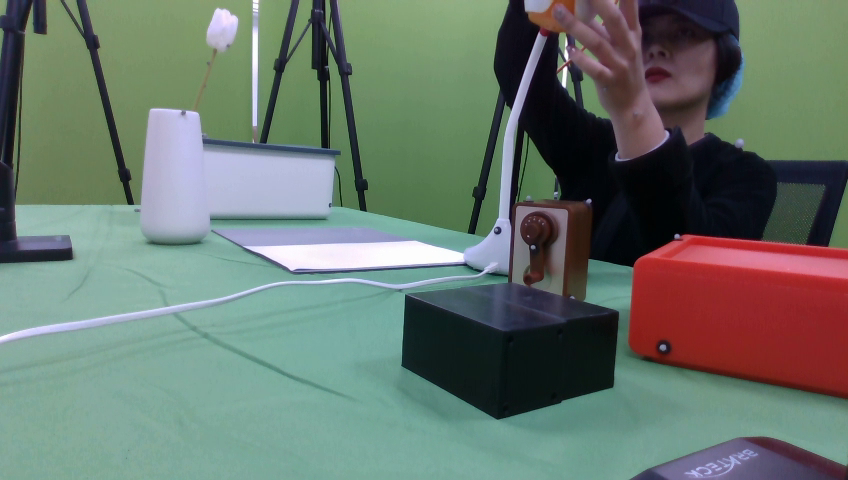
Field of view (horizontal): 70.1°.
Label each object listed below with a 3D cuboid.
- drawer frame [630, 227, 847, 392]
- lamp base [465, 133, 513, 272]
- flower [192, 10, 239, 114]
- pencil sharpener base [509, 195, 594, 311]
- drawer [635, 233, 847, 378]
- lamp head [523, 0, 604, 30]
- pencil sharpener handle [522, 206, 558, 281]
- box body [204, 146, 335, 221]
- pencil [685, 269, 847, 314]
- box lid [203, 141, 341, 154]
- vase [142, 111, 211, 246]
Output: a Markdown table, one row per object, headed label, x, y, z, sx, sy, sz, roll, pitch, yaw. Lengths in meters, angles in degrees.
| label | x | y | z | sx | sy | sz | roll | pitch | yaw |
| --- | --- | --- | --- | --- | --- | --- | --- | --- | --- |
| drawer frame | 0.292 | 0.043 | 0.484 | 0.201 | 0.082 | 0.214 | 7 | 9 | 29 |
| lamp base | 0.133 | -0.052 | 0.809 | 0.160 | 0.180 | 0.180 | 6 | 12 | 26 |
| flower | -0.354 | -0.174 | 0.916 | 0.038 | 0.361 | 0.044 | 18 | -3 | 12 |
| pencil sharpener base | 0.126 | 0.011 | 0.601 | 0.061 | 0.107 | 0.077 | 7 | 9 | 30 |
| drawer | 0.292 | 0.045 | 0.488 | 0.193 | 0.073 | 0.213 | 7 | 9 | 30 |
| lamp head | 0.150 | -0.284 | 0.632 | 0.112 | 0.123 | 0.112 | 13 | 18 | -4 |
| pencil sharpener handle | 0.102 | 0.003 | 0.555 | 0.036 | 0.067 | 0.031 | 0 | 5 | 31 |
| box body | -0.411 | -0.135 | 1.386 | 0.366 | 0.160 | 0.253 | -2 | 9 | -29 |
| pencil | 0.308 | 0.045 | 0.516 | 0.194 | 0.012 | 0.012 | 13 | 5 | -11 |
| box lid | -0.396 | -0.212 | 1.373 | 0.373 | 0.015 | 0.262 | -1 | 9 | -29 |
| vase | -0.378 | -0.093 | 0.920 | 0.098 | 0.200 | 0.098 | 2 | 9 | 0 |
